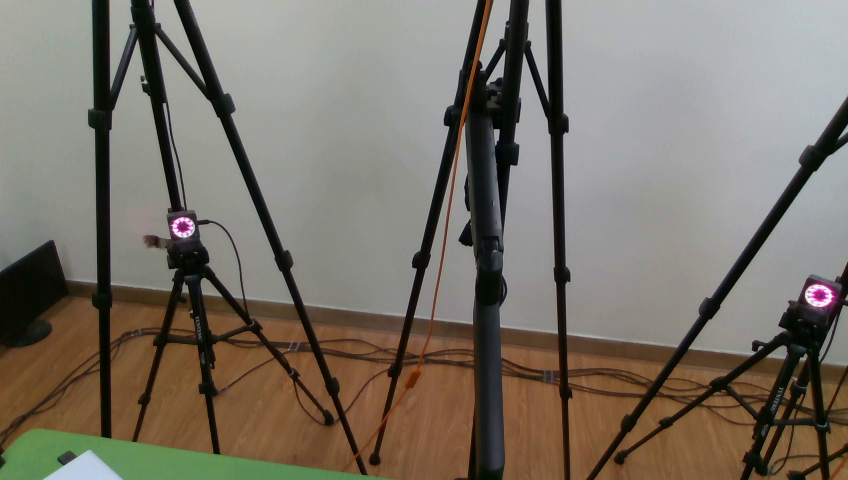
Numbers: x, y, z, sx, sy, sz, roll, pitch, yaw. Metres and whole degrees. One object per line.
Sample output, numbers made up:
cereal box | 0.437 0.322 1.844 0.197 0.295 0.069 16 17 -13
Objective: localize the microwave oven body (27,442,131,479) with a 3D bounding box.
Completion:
microwave oven body | -0.461 0.499 0.645 0.323 0.262 0.441 22 37 28
